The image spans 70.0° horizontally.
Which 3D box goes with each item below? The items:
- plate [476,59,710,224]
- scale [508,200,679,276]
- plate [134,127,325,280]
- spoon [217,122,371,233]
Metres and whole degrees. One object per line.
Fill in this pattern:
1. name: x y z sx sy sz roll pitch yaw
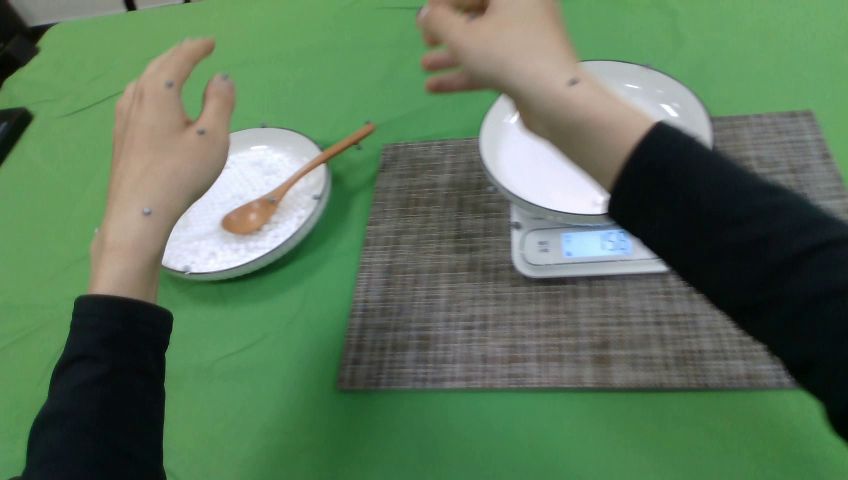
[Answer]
1. plate: 0.154 -0.092 0.571 0.207 0.039 0.205 -6 52 8
2. scale: 0.155 -0.056 0.585 0.148 0.032 0.199 -3 53 11
3. plate: -0.204 -0.039 0.655 0.209 0.038 0.207 -6 52 8
4. spoon: -0.134 -0.069 0.641 0.193 0.022 0.041 -39 54 -9
